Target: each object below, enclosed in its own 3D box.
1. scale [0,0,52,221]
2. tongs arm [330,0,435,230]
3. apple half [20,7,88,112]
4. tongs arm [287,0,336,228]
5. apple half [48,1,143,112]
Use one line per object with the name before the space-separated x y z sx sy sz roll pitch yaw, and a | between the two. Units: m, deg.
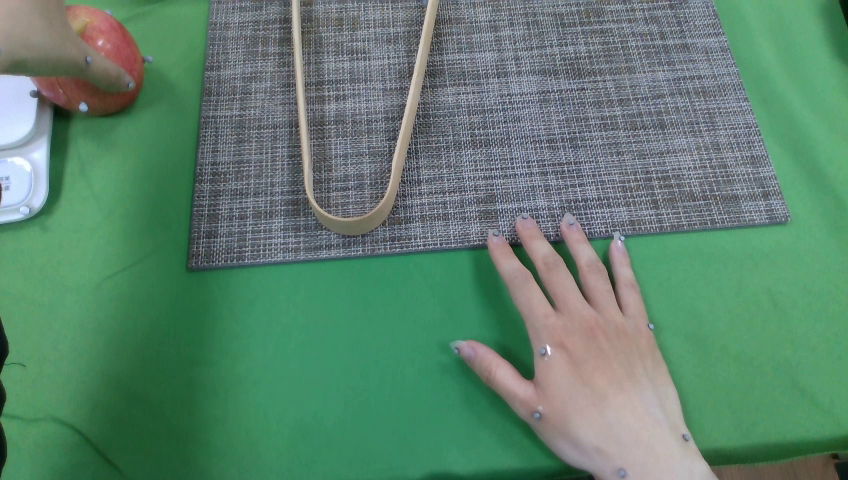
scale | -0.374 -0.102 0.482 0.149 0.032 0.199 -9 67 -4
tongs arm | -0.018 -0.185 0.514 0.051 0.027 0.382 7 67 2
apple half | -0.290 -0.134 0.473 0.033 0.082 0.080 -13 66 -8
tongs arm | -0.103 -0.186 0.517 0.028 0.028 0.384 -5 67 -6
apple half | -0.253 -0.144 0.478 0.053 0.075 0.080 -13 63 -9
